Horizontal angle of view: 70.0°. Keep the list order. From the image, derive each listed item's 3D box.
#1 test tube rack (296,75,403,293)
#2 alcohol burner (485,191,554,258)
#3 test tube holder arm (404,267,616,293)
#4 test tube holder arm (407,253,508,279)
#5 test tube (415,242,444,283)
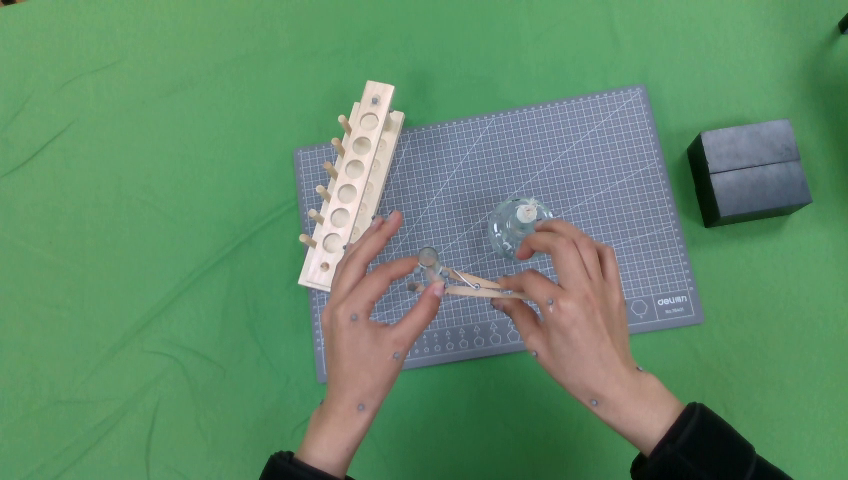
[{"bbox_3d":[-0.095,-0.067,0.715,0.066,0.085,0.241,14,80,9],"label":"test tube rack"},{"bbox_3d":[0.107,-0.021,0.672,0.078,0.119,0.077,-1,77,4],"label":"alcohol burner"},{"bbox_3d":[0.072,0.034,0.516,0.178,0.015,0.013,-3,67,3],"label":"test tube holder arm"},{"bbox_3d":[0.029,0.027,0.522,0.087,0.015,0.010,13,68,9],"label":"test tube holder arm"},{"bbox_3d":[0.007,0.025,0.499,0.017,0.151,0.017,-1,78,5],"label":"test tube"}]
